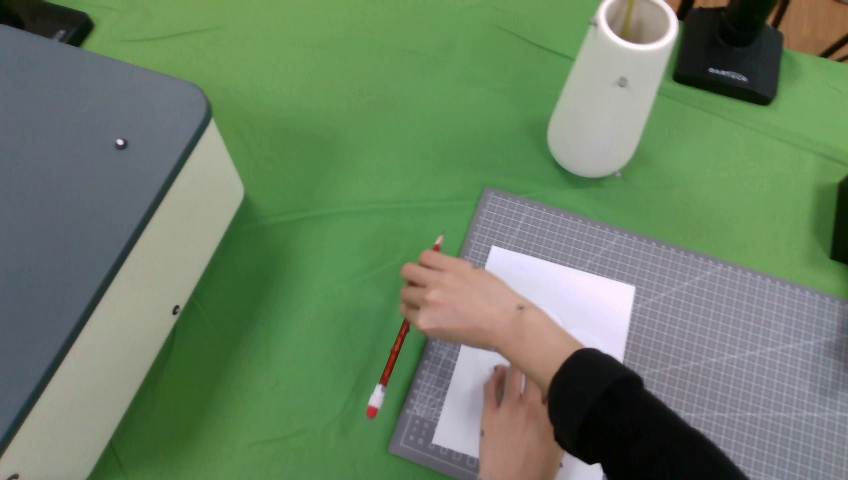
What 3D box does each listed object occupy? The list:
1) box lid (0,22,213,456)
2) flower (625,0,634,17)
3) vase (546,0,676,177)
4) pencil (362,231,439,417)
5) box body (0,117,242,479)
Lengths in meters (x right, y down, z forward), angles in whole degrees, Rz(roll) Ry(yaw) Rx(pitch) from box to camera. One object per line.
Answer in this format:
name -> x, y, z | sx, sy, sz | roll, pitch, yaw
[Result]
box lid -> -0.363, -0.017, 0.488 | 0.263, 0.015, 0.369 | 19, 67, 8
flower -> 0.181, -0.197, 0.541 | 0.044, 0.365, 0.038 | 12, 48, 9
vase -> 0.184, -0.149, 0.611 | 0.098, 0.201, 0.097 | 0, 64, 1
pencil -> -0.018, 0.074, 0.578 | 0.012, 0.012, 0.193 | 18, 68, 9
box body -> -0.363, 0.017, 0.555 | 0.253, 0.161, 0.362 | 18, 67, 8
